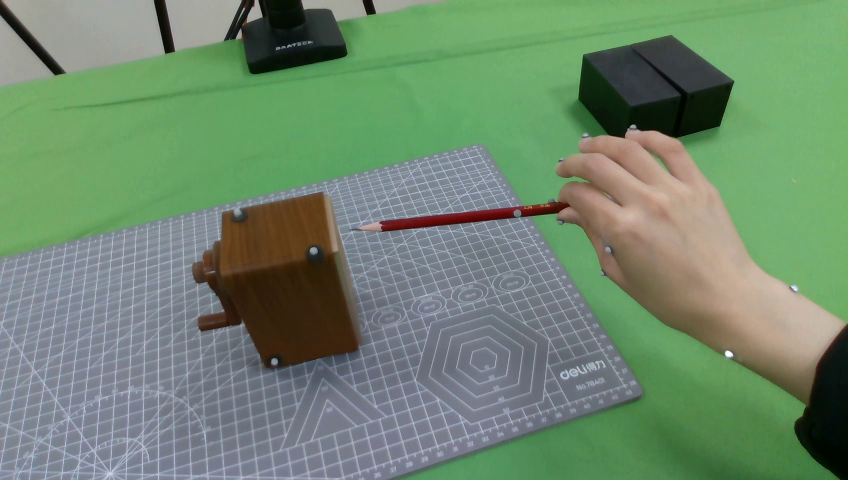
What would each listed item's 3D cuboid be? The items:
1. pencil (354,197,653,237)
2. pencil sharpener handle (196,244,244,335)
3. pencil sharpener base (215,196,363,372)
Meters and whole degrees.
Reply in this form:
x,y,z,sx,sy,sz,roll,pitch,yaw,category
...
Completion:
x,y,z,sx,sy,sz,roll,pitch,yaw,category
0.051,-0.014,0.395,0.194,0.012,0.012,-6,45,2,pencil
-0.139,0.036,0.397,0.031,0.068,0.035,-12,39,-5,pencil sharpener handle
-0.089,0.033,0.412,0.077,0.108,0.060,-12,45,-6,pencil sharpener base
